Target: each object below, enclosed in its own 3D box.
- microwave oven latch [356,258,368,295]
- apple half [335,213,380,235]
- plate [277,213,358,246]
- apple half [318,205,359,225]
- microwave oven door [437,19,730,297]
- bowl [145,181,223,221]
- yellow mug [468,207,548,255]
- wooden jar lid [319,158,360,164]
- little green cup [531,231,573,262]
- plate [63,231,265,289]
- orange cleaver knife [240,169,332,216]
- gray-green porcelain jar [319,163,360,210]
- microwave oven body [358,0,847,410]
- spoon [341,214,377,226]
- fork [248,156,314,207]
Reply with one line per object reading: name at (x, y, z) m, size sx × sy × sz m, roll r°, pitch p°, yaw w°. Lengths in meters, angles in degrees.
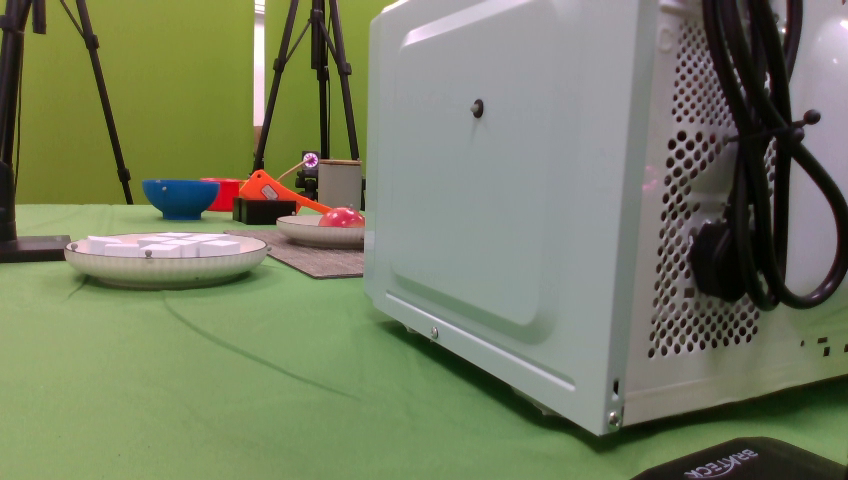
microwave oven latch at (-0.019, 0.031, 0.529) m, size 0.079 × 0.029 × 0.030 m, roll -1°, pitch 7°, yaw -26°
apple half at (-0.112, -0.029, 1.034) m, size 0.081 × 0.033 × 0.081 m, roll 0°, pitch 10°, yaw 0°
plate at (-0.135, -0.018, 0.993) m, size 0.209 × 0.038 × 0.209 m, roll 2°, pitch 7°, yaw 0°
apple half at (-0.126, -0.029, 0.954) m, size 0.081 × 0.053 × 0.074 m, roll -2°, pitch 11°, yaw -33°
microwave oven door at (0.181, -0.076, 0.618) m, size 0.358 × 0.243 × 0.039 m, roll -2°, pitch 8°, yaw -28°
bowl at (-0.499, -0.081, 1.261) m, size 0.151 × 0.077 × 0.151 m, roll 2°, pitch 8°, yaw 0°
yellow mug at (0.136, -0.015, 0.950) m, size 0.131 × 0.064 × 0.099 m, roll 3°, pitch 5°, yaw -20°
wooden jar lid at (-0.202, -0.189, 1.482) m, size 0.108 × 0.020 × 0.108 m, roll 2°, pitch 10°, yaw 0°
little green cup at (0.184, 0.009, 0.879) m, size 0.061 × 0.038 × 0.061 m, roll 3°, pitch 8°, yaw 0°
plate at (-0.288, 0.021, 0.687) m, size 0.208 × 0.039 × 0.207 m, roll 2°, pitch 8°, yaw 0°
orange cleaver knife at (-0.287, -0.082, 1.299) m, size 0.212 × 0.077 × 0.012 m, roll 25°, pitch -2°, yaw -31°
gray-green porcelain jar at (-0.204, -0.126, 1.490) m, size 0.106 × 0.126 × 0.106 m, roll 2°, pitch 8°, yaw 0°
microwave oven body at (0.210, -0.051, 0.471) m, size 0.444 × 0.260 × 0.324 m, roll -1°, pitch 7°, yaw -28°
spoon at (-0.132, -0.047, 1.305) m, size 0.041 × 0.021 × 0.194 m, roll -14°, pitch 4°, yaw 14°
fork at (-0.360, -0.147, 1.523) m, size 0.207 × 0.019 × 0.028 m, roll -43°, pitch 16°, yaw -6°
